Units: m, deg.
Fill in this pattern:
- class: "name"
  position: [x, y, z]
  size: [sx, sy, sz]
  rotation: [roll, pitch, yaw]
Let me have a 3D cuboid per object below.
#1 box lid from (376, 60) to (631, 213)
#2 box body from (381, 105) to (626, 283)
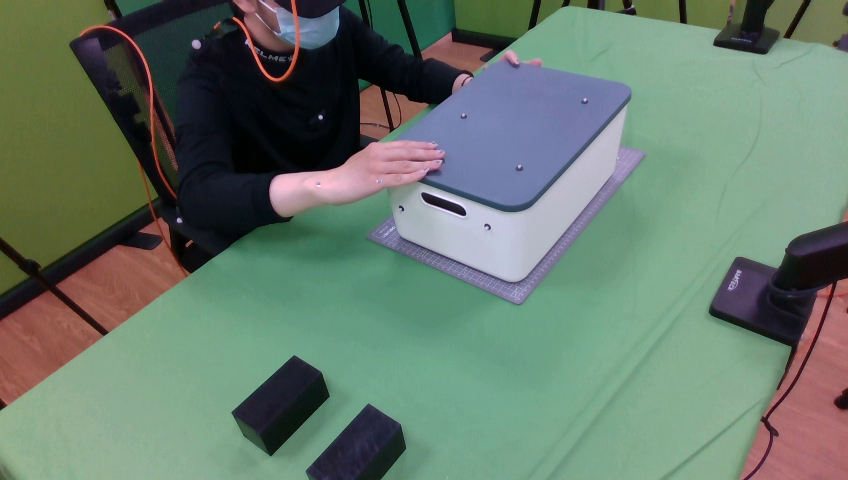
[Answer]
- class: "box lid"
  position: [0.131, -0.179, 0.930]
  size: [0.261, 0.015, 0.372]
  rotation: [23, 49, 30]
- class: "box body"
  position: [0.137, -0.121, 0.978]
  size: [0.252, 0.161, 0.365]
  rotation: [22, 48, 30]
